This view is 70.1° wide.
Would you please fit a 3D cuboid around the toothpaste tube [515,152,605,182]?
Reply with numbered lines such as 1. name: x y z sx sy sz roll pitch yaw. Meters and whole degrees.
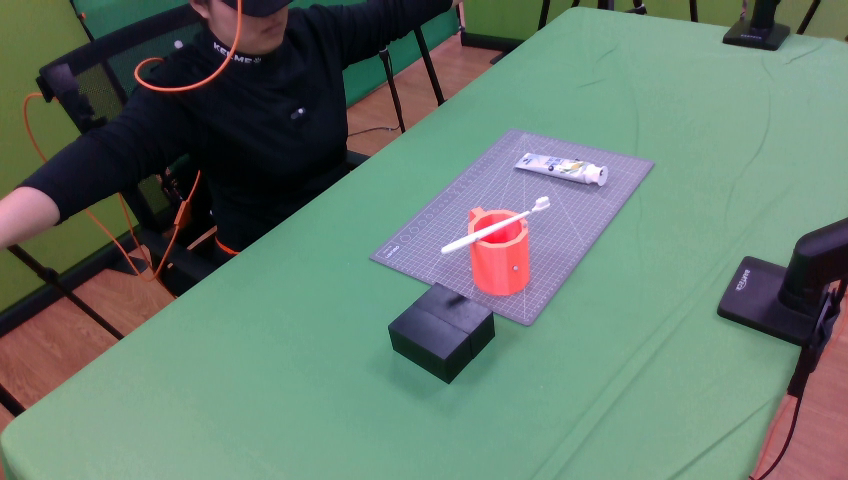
1. toothpaste tube: 0.248 -0.133 1.087 0.164 0.034 0.055 17 42 35

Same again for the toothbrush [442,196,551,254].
1. toothbrush: 0.104 -0.021 0.846 0.182 0.017 0.014 -25 48 -18

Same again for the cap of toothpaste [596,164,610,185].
1. cap of toothpaste: 0.307 -0.113 1.040 0.011 0.037 0.037 19 48 39

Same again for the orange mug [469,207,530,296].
1. orange mug: 0.104 0.008 0.894 0.084 0.101 0.125 -22 46 -14
